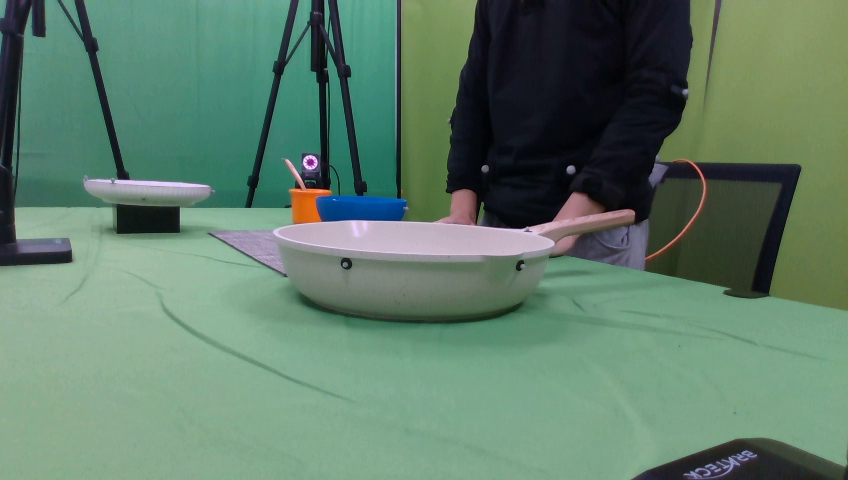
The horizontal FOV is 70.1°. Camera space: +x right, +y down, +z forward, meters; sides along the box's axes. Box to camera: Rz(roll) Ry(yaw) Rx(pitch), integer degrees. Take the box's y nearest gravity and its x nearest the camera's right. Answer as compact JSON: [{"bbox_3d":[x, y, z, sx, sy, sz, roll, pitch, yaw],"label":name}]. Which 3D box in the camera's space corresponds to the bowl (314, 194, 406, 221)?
[{"bbox_3d":[-0.105,-0.032,0.991,0.151,0.077,0.151,3,7,0],"label":"bowl"}]

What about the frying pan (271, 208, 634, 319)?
[{"bbox_3d":[0.076,0.003,0.695,0.490,0.102,0.305,-12,14,-30],"label":"frying pan"}]

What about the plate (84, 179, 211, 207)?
[{"bbox_3d":[-0.495,-0.085,1.093,0.208,0.039,0.207,4,7,0],"label":"plate"}]

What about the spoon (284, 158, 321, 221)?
[{"bbox_3d":[-0.269,-0.113,1.336,0.042,0.193,0.021,-4,-34,-43],"label":"spoon"}]
